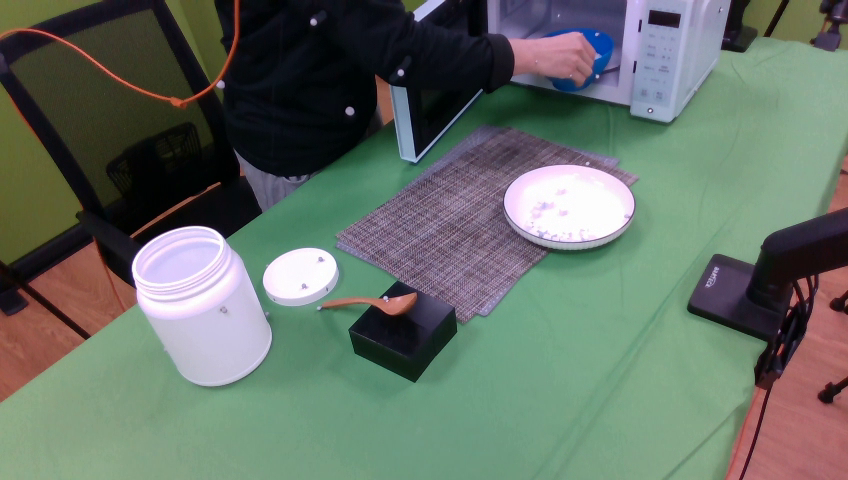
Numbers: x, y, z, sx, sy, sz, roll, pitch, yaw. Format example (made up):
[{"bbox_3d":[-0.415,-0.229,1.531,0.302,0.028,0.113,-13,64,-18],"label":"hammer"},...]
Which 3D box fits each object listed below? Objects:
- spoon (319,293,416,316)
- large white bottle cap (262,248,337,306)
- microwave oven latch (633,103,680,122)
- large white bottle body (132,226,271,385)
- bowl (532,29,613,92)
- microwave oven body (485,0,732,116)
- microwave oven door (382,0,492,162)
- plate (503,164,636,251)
[{"bbox_3d":[-0.082,0.086,0.826,0.192,0.022,0.041,-3,37,41],"label":"spoon"},{"bbox_3d":[-0.193,0.056,0.934,0.115,0.018,0.114,-4,41,4],"label":"large white bottle cap"},{"bbox_3d":[0.443,-0.249,1.157,0.078,0.029,0.030,21,49,30],"label":"microwave oven latch"},{"bbox_3d":[-0.285,0.084,0.783,0.130,0.185,0.130,-4,41,4],"label":"large white bottle body"},{"bbox_3d":[0.287,-0.339,1.172,0.151,0.077,0.150,-5,43,5],"label":"bowl"},{"bbox_3d":[0.377,-0.463,1.267,0.438,0.261,0.327,21,49,30],"label":"microwave oven body"},{"bbox_3d":[0.040,-0.348,1.173,0.039,0.245,0.356,16,45,25],"label":"microwave oven door"},{"bbox_3d":[0.231,-0.051,0.976,0.209,0.038,0.208,-3,41,3],"label":"plate"}]
